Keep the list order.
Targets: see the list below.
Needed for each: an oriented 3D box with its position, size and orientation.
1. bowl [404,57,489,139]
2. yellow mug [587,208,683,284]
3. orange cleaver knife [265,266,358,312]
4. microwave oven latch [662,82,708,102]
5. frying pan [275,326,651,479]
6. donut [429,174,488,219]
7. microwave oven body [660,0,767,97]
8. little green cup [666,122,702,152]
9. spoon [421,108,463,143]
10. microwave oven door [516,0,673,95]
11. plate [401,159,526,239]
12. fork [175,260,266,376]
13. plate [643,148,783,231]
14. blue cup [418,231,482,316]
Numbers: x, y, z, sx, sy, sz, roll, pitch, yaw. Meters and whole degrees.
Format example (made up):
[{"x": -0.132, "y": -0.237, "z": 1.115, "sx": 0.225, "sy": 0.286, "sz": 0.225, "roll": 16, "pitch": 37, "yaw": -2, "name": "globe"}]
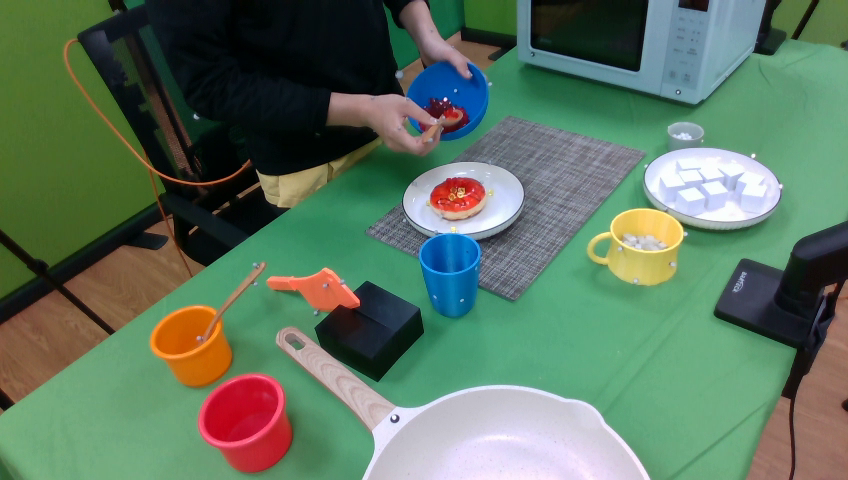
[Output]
[{"x": 0.048, "y": -0.235, "z": 1.063, "sx": 0.151, "sy": 0.077, "sz": 0.151, "roll": -6, "pitch": 68, "yaw": 16, "name": "bowl"}, {"x": 0.305, "y": 0.009, "z": 0.884, "sx": 0.131, "sy": 0.064, "sz": 0.099, "roll": -4, "pitch": 41, "yaw": 5, "name": "yellow mug"}, {"x": -0.164, "y": 0.073, "z": 0.864, "sx": 0.210, "sy": 0.077, "sz": 0.012, "roll": -6, "pitch": 31, "yaw": 50, "name": "orange cleaver knife"}, {"x": 0.518, "y": -0.299, "z": 1.203, "sx": 0.078, "sy": 0.029, "sz": 0.030, "roll": 29, "pitch": 53, "yaw": 35, "name": "microwave oven latch"}, {"x": 0.003, "y": 0.229, "z": 0.641, "sx": 0.484, "sy": 0.103, "sz": 0.308, "roll": 34, "pitch": 54, "yaw": 28, "name": "frying pan"}, {"x": 0.058, "y": -0.075, "z": 1.015, "sx": 0.099, "sy": 0.048, "sz": 0.098, "roll": -6, "pitch": 38, "yaw": 5, "name": "donut"}, {"x": 0.473, "y": -0.516, "z": 1.313, "sx": 0.438, "sy": 0.261, "sz": 0.327, "roll": 26, "pitch": 51, "yaw": 34, "name": "microwave oven body"}, {"x": 0.471, "y": -0.184, "z": 1.102, "sx": 0.061, "sy": 0.039, "sz": 0.061, "roll": -5, "pitch": 41, "yaw": 5, "name": "little green cup"}, {"x": 0.024, "y": -0.183, "z": 0.955, "sx": 0.041, "sy": 0.022, "sz": 0.194, "roll": 2, "pitch": 21, "yaw": 18, "name": "spoon"}, {"x": 0.344, "y": -0.458, "z": 1.256, "sx": 0.353, "sy": 0.245, "sz": 0.039, "roll": 26, "pitch": 51, "yaw": 33, "name": "microwave oven door"}, {"x": 0.067, "y": -0.065, "z": 1.019, "sx": 0.209, "sy": 0.038, "sz": 0.208, "roll": -4, "pitch": 40, "yaw": 4, "name": "plate"}, {"x": -0.268, "y": 0.103, "z": 0.792, "sx": 0.207, "sy": 0.019, "sz": 0.028, "roll": -51, "pitch": 41, "yaw": 16, "name": "fork"}, {"x": 0.464, "y": -0.080, "z": 0.986, "sx": 0.207, "sy": 0.039, "sz": 0.206, "roll": -4, "pitch": 41, "yaw": 4, "name": "plate"}, {"x": 0.040, "y": 0.053, "z": 0.843, "sx": 0.092, "sy": 0.100, "sz": 0.092, "roll": -4, "pitch": 43, "yaw": 4, "name": "blue cup"}]
